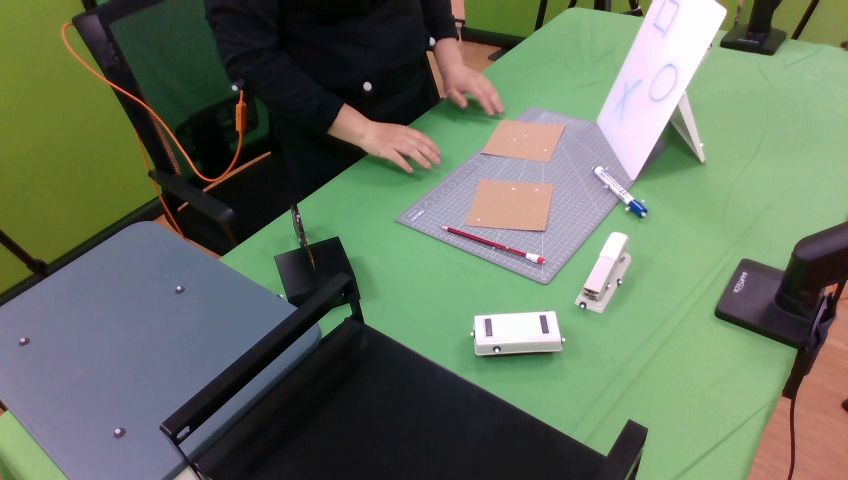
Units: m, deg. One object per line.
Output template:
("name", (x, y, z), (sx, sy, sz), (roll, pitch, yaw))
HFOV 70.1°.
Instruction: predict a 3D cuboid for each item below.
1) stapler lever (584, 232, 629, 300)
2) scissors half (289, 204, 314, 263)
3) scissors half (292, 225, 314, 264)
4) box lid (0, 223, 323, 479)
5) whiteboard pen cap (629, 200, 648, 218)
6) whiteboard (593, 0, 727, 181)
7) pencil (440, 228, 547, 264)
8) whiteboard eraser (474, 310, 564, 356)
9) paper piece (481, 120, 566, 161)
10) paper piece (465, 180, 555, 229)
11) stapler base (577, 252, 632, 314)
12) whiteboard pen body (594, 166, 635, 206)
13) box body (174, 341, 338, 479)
("stapler lever", (0.260, 0.034, 0.858), (0.026, 0.040, 0.118), (16, 46, 30))
("scissors half", (-0.191, -0.010, 0.945), (0.013, 0.040, 0.173), (-15, 37, -16))
("scissors half", (-0.188, 0.007, 0.955), (0.013, 0.040, 0.174), (-20, 21, -13))
("box lid", (-0.318, 0.109, 0.671), (0.368, 0.015, 0.264), (24, 50, 31))
("whiteboard pen cap", (0.348, -0.052, 0.984), (0.018, 0.018, 0.033), (-18, 41, -12))
("whiteboard", (0.452, -0.272, 1.056), (0.144, 0.305, 0.216), (9, 38, -12))
("pencil", (0.105, 0.006, 0.958), (0.192, 0.012, 0.012), (18, 46, 30))
("whiteboard eraser", (0.123, 0.125, 0.794), (0.113, 0.042, 0.055), (-5, 38, 3))
("paper piece", (0.197, -0.199, 1.188), (0.135, 0.004, 0.135), (11, 44, 21))
("paper piece", (0.149, -0.062, 1.035), (0.137, 0.009, 0.136), (5, 37, 17))
("stapler base", (0.264, 0.051, 0.875), (0.041, 0.024, 0.131), (16, 47, 30))
("whiteboard pen body", (0.330, -0.085, 1.027), (0.017, 0.017, 0.139), (-17, 42, -10))
("box body", (-0.311, 0.165, 0.720), (0.361, 0.161, 0.255), (23, 49, 32))
